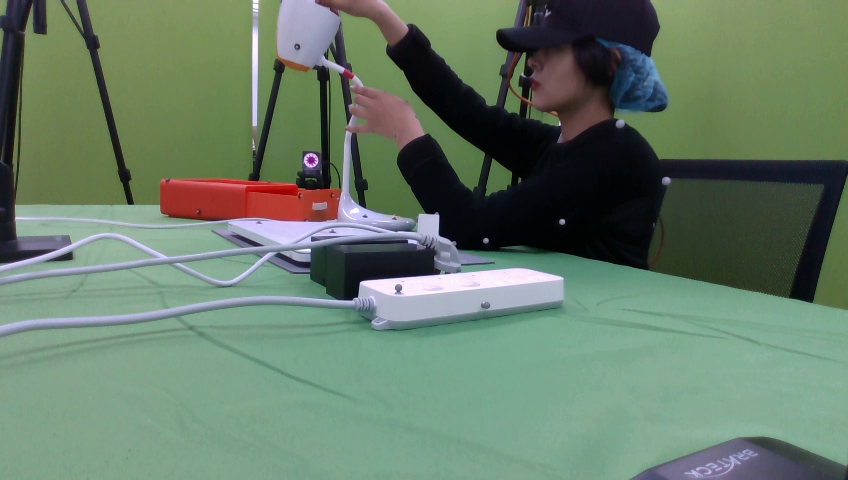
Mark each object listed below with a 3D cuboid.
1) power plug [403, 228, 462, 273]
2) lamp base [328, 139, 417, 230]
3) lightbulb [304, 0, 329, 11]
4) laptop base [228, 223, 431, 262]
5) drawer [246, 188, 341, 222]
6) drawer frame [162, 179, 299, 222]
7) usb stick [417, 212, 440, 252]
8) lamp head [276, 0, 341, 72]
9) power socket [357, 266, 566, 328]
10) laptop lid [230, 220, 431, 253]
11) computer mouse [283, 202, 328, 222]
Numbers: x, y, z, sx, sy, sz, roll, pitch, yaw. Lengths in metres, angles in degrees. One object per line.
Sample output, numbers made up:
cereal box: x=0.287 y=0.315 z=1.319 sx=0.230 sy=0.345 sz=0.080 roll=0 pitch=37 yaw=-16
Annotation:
power plug: x=0.006 y=0.016 z=0.647 sx=0.073 sy=0.052 sz=0.035 roll=17 pitch=12 yaw=-6
lamp base: x=-0.105 y=-0.113 z=1.212 sx=0.180 sy=0.180 sz=0.160 roll=-3 pitch=7 yaw=-14
lightbulb: x=-0.214 y=-0.404 z=1.113 sx=0.059 sy=0.107 sz=0.059 roll=25 pitch=9 yaw=-4
laptop base: x=-0.145 y=0.003 z=0.942 sx=0.237 sy=0.023 sz=0.352 roll=2 pitch=6 yaw=-32
drawer: x=-0.312 y=-0.078 z=1.296 sx=0.211 sy=0.073 sz=0.195 roll=4 pitch=9 yaw=17
drawer frame: x=-0.418 y=-0.089 z=1.328 sx=0.213 sy=0.082 sz=0.202 roll=4 pitch=8 yaw=18
usb stick: x=0.005 y=-0.003 z=0.721 sx=0.027 sy=0.059 sz=0.021 roll=0 pitch=-3 yaw=-3
lamp head: x=-0.222 y=-0.374 z=1.124 sx=0.112 sy=0.123 sz=0.112 roll=17 pitch=10 yaw=-3
power socket: x=0.042 y=0.049 z=0.573 sx=0.228 sy=0.032 sz=0.072 roll=-3 pitch=8 yaw=-34
laptop lid: x=-0.142 y=-0.009 z=0.942 sx=0.243 sy=0.013 sz=0.355 roll=1 pitch=7 yaw=-31
computer mouse: x=-0.251 y=-0.060 z=1.287 sx=0.063 sy=0.041 sz=0.117 roll=3 pitch=4 yaw=11
